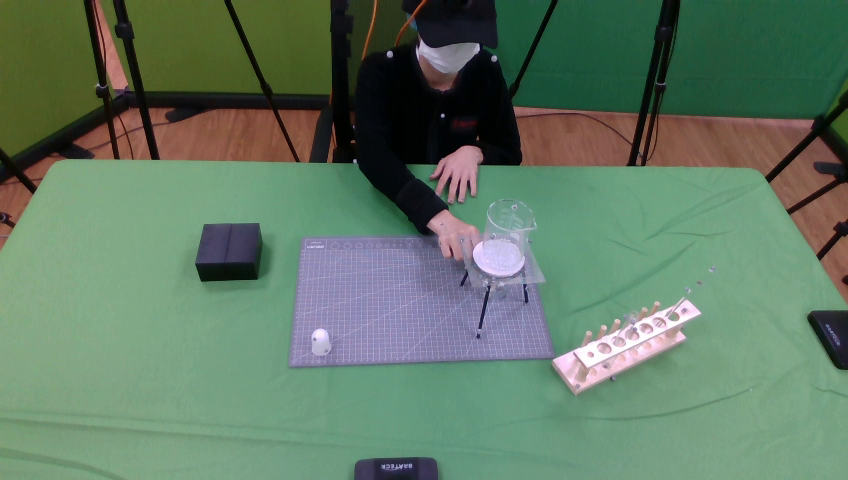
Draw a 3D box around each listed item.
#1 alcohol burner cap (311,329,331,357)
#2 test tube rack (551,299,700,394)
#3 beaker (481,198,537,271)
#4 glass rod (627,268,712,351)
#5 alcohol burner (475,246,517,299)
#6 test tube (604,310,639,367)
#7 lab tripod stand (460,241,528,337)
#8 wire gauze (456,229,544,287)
[{"bbox_3d":[-0.173,0.168,1.005,0.034,0.048,0.033,2,46,-2],"label":"alcohol burner cap"},{"bbox_3d":[0.339,0.166,1.021,0.242,0.085,0.066,-19,50,-21],"label":"test tube rack"},{"bbox_3d":[0.134,-0.005,0.974,0.084,0.101,0.074,23,49,16],"label":"beaker"},{"bbox_3d":[0.399,0.117,0.995,0.008,0.200,0.008,26,29,-15],"label":"glass rod"},{"bbox_3d":[0.131,0.052,1.092,0.078,0.119,0.077,2,48,-3],"label":"alcohol burner"},{"bbox_3d":[0.310,0.158,0.957,0.017,0.151,0.017,1,49,-1],"label":"test tube"},{"bbox_3d":[0.122,0.075,1.054,0.148,0.132,0.147,3,44,-2],"label":"lab tripod stand"},{"bbox_3d":[0.125,0.030,1.008,0.125,0.011,0.120,-3,48,-11],"label":"wire gauze"}]
